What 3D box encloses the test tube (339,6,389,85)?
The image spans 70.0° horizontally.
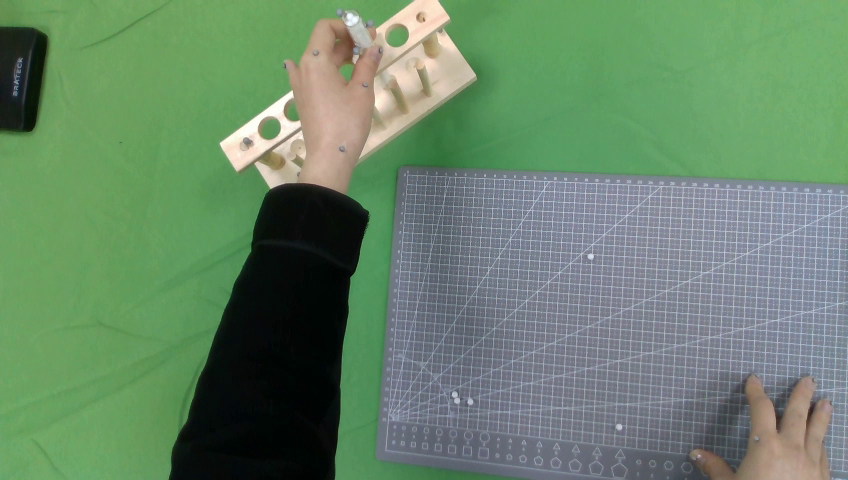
[{"bbox_3d":[-0.051,-0.170,0.546,0.017,0.150,0.017,0,85,6],"label":"test tube"}]

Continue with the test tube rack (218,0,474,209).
[{"bbox_3d":[-0.072,-0.130,0.597,0.242,0.085,0.066,-34,82,5],"label":"test tube rack"}]
